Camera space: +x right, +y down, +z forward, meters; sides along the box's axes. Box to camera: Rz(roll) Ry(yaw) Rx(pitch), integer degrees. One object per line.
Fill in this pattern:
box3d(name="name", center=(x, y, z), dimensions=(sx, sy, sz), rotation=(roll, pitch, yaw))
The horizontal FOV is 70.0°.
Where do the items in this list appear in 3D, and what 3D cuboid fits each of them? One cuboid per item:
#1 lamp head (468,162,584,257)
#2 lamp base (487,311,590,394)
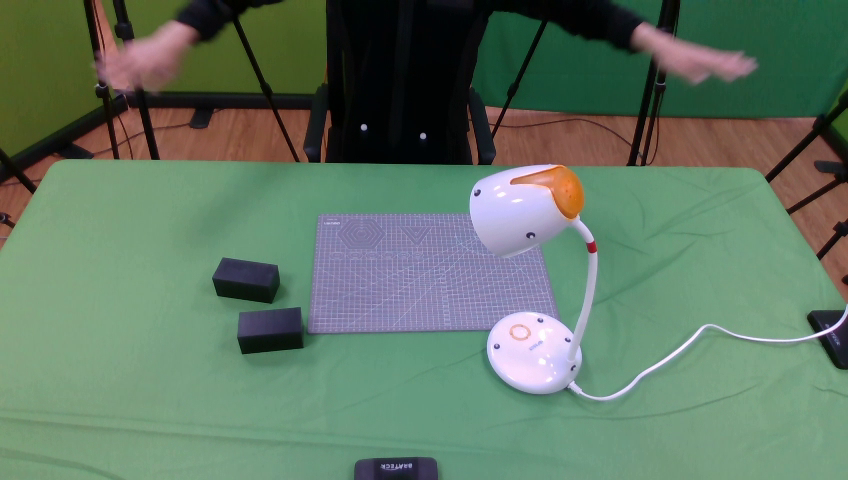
box3d(name="lamp head", center=(0.135, -0.043, 0.747), dimensions=(0.122, 0.113, 0.112), rotation=(-15, 30, 42))
box3d(name="lamp base", center=(0.199, 0.142, 0.962), dimensions=(0.178, 0.181, 0.160), rotation=(38, 56, 24))
